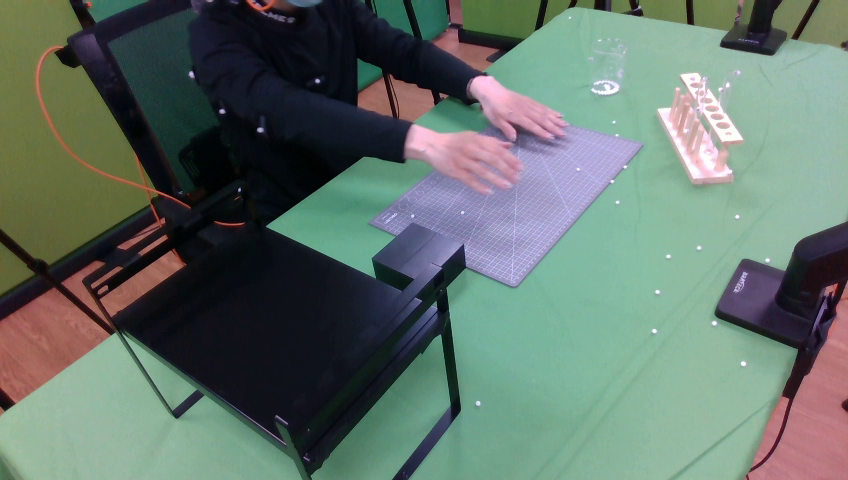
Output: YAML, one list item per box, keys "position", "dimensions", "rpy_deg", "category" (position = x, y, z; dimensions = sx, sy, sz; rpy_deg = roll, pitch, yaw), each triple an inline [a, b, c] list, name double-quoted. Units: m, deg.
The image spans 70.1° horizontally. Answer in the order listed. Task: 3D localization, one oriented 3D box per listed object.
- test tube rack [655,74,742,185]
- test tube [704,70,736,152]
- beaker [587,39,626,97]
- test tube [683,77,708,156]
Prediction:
- position: [0.488, -0.205, 1.093]
  dimensions: [0.067, 0.085, 0.241]
  rpy_deg: [-3, 41, 5]
  category: "test tube rack"
- position: [0.501, -0.216, 1.028]
  dimensions: [0.017, 0.151, 0.017]
  rpy_deg: [-2, 40, 2]
  category: "test tube"
- position: [0.386, -0.361, 1.280]
  dimensions: [0.074, 0.101, 0.083]
  rpy_deg: [-22, 43, -15]
  category: "beaker"
- position: [0.463, -0.209, 1.033]
  dimensions: [0.017, 0.151, 0.017]
  rpy_deg: [-4, 43, 4]
  category: "test tube"
